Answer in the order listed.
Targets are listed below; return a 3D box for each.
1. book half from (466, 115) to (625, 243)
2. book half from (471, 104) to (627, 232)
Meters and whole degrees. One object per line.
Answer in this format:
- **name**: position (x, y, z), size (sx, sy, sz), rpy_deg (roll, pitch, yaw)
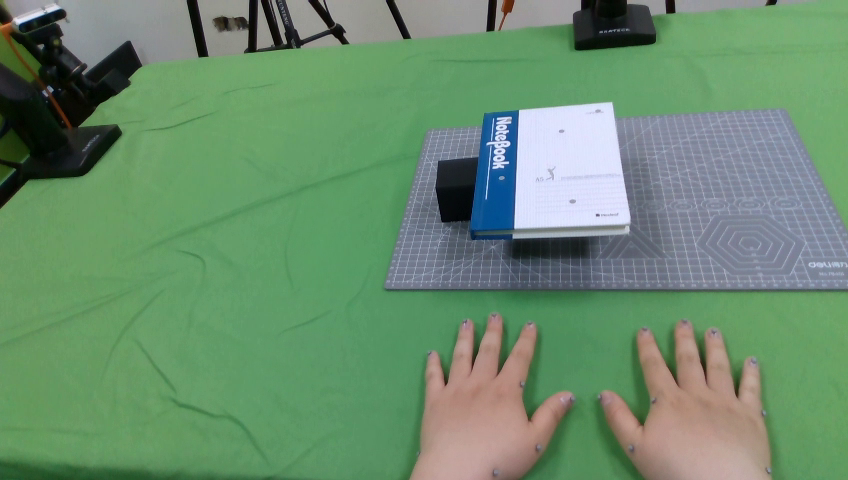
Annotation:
- **book half**: position (0.126, -0.075, 0.638), size (0.148, 0.016, 0.208), rpy_deg (-2, 43, 12)
- **book half**: position (0.128, -0.081, 0.632), size (0.143, 0.007, 0.208), rpy_deg (-2, 43, 12)
